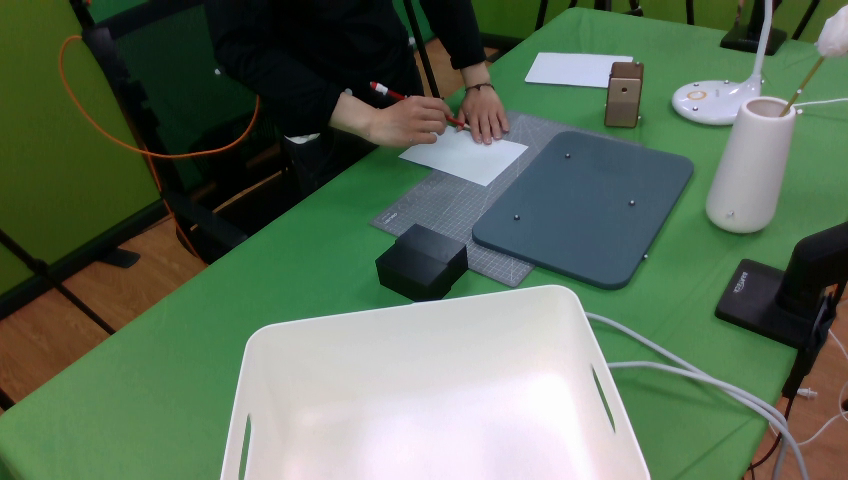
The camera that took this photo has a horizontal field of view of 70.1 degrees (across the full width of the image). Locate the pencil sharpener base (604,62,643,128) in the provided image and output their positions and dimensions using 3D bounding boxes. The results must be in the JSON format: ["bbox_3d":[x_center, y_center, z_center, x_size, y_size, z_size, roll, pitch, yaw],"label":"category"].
[{"bbox_3d":[0.390,-0.284,1.182,0.061,0.107,0.076,7,42,17],"label":"pencil sharpener base"}]

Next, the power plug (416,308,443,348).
[{"bbox_3d":[0.004,0.121,0.787,0.035,0.053,0.072,2,46,8],"label":"power plug"}]

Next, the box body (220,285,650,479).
[{"bbox_3d":[0.006,0.210,0.618,0.364,0.161,0.252,-8,40,-1],"label":"box body"}]

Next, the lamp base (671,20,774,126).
[{"bbox_3d":[0.581,-0.332,1.154,0.179,0.181,0.160,2,41,7],"label":"lamp base"}]

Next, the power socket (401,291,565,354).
[{"bbox_3d":[0.079,0.111,0.823,0.227,0.033,0.072,-5,41,1],"label":"power socket"}]

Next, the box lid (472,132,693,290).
[{"bbox_3d":[0.273,-0.068,1.020,0.261,0.015,0.372,20,47,28],"label":"box lid"}]

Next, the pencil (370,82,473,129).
[{"bbox_3d":[-0.003,-0.232,1.051,0.195,0.012,0.012,21,40,-12],"label":"pencil"}]

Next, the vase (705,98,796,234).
[{"bbox_3d":[0.480,-0.104,0.889,0.098,0.201,0.097,-4,42,4],"label":"vase"}]

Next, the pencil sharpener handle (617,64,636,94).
[{"bbox_3d":[0.401,-0.327,1.211,0.036,0.068,0.030,16,44,8],"label":"pencil sharpener handle"}]

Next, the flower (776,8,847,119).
[{"bbox_3d":[0.476,-0.156,0.823,0.038,0.362,0.044,8,58,2],"label":"flower"}]
